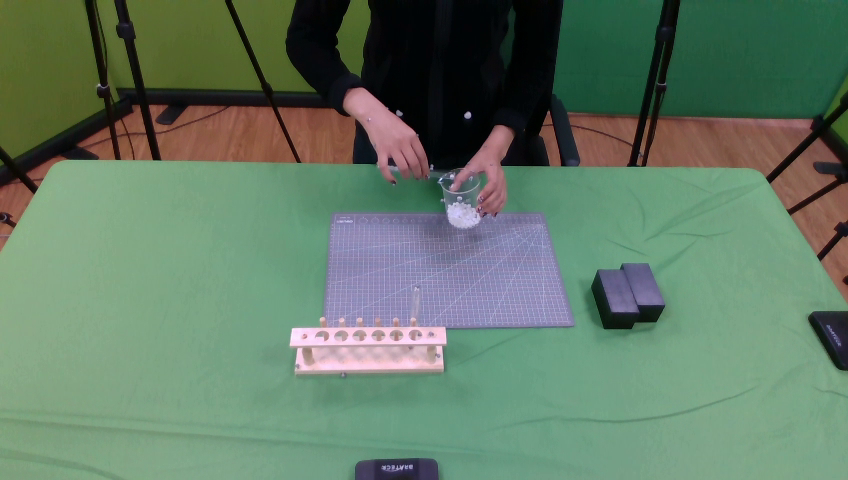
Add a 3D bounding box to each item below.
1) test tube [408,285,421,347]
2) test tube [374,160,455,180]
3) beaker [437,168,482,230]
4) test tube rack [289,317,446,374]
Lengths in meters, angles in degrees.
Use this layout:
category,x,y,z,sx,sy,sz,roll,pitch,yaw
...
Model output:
category,x,y,z,sx,sy,sz,roll,pitch,yaw
test tube,-0.016,0.124,0.973,0.017,0.151,0.017,3,46,-2
test tube,-0.017,-0.128,1.108,0.151,0.017,0.017,8,45,-10
beaker,0.070,-0.076,1.154,0.084,0.101,0.073,5,46,16
test tube rack,-0.089,0.167,0.987,0.242,0.085,0.066,0,46,-4
